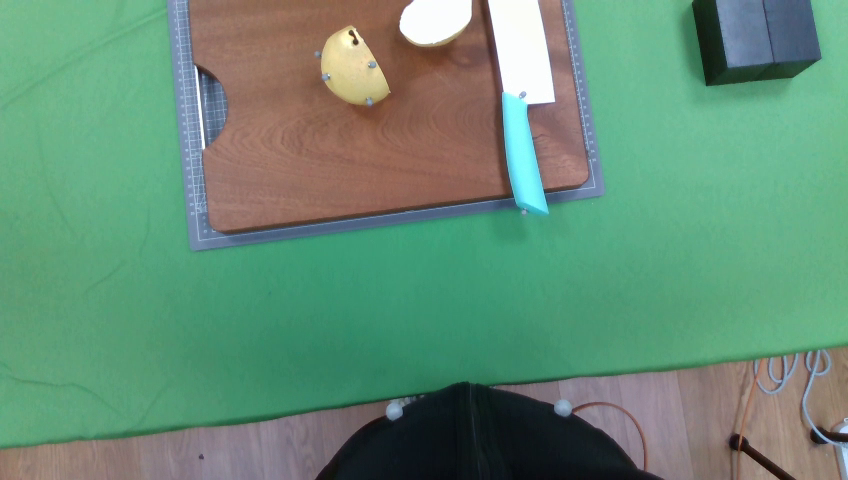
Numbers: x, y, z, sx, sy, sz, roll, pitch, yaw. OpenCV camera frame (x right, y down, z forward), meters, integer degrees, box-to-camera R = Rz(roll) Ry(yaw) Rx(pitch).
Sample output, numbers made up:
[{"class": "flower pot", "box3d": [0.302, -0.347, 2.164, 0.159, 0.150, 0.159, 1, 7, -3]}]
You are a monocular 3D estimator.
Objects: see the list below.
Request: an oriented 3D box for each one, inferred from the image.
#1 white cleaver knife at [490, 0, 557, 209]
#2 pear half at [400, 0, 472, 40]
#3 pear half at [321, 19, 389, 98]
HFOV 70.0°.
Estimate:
[{"class": "white cleaver knife", "box3d": [0.108, -0.174, 0.634, 0.066, 0.021, 0.285, -6, 85, -11]}, {"class": "pear half", "box3d": [0.017, -0.236, 0.634, 0.070, 0.031, 0.088, 39, 71, 19]}, {"class": "pear half", "box3d": [-0.073, -0.176, 0.589, 0.056, 0.110, 0.076, -38, 81, -4]}]
